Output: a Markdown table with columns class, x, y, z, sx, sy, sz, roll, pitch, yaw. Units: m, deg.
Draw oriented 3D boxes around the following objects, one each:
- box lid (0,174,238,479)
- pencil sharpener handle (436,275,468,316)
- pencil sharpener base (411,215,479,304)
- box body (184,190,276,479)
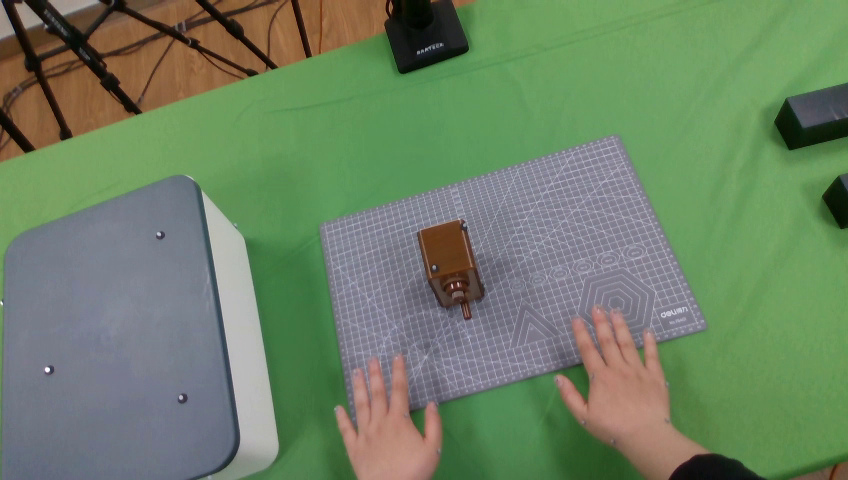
| class | x | y | z | sx | sy | sz | roll | pitch | yaw |
| --- | --- | --- | --- | --- | --- | --- | --- | --- | --- |
| box lid | -0.361 | 0.107 | 0.689 | 0.263 | 0.015 | 0.368 | -20 | 65 | 1 |
| pencil sharpener handle | 0.040 | 0.068 | 0.729 | 0.036 | 0.068 | 0.030 | -19 | 63 | 9 |
| pencil sharpener base | 0.029 | 0.029 | 0.762 | 0.061 | 0.108 | 0.076 | -16 | 64 | 4 |
| box body | -0.351 | 0.136 | 0.762 | 0.254 | 0.162 | 0.360 | -20 | 63 | 1 |
